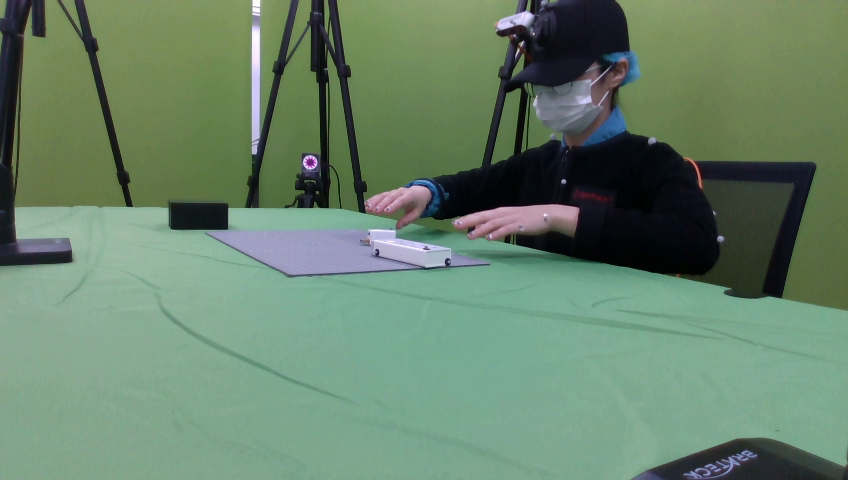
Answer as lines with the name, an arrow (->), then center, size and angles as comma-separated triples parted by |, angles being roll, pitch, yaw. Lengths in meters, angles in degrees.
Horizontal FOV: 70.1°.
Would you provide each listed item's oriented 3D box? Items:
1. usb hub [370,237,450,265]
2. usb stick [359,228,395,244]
usb hub -> -0.022, 0.014, 0.861 | 0.050, 0.025, 0.124 | -5, 9, -41
usb stick -> -0.079, -0.007, 1.009 | 0.059, 0.027, 0.021 | -5, 8, -18
